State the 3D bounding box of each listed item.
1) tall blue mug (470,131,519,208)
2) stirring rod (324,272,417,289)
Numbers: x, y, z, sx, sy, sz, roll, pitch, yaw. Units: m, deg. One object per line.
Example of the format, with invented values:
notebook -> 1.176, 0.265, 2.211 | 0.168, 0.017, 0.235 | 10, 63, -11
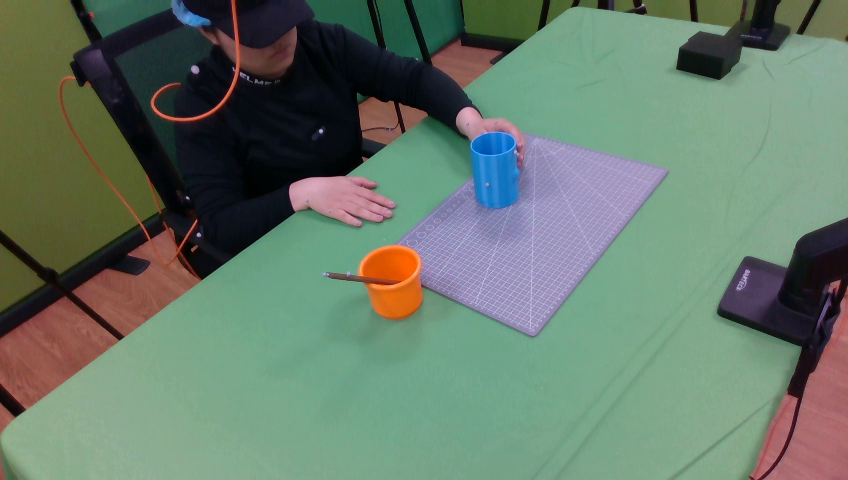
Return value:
tall blue mug -> 0.122, -0.129, 1.042 | 0.078, 0.108, 0.106 | -7, 40, 5
stirring rod -> -0.069, 0.057, 0.840 | 0.014, 0.006, 0.178 | 26, 9, 39
